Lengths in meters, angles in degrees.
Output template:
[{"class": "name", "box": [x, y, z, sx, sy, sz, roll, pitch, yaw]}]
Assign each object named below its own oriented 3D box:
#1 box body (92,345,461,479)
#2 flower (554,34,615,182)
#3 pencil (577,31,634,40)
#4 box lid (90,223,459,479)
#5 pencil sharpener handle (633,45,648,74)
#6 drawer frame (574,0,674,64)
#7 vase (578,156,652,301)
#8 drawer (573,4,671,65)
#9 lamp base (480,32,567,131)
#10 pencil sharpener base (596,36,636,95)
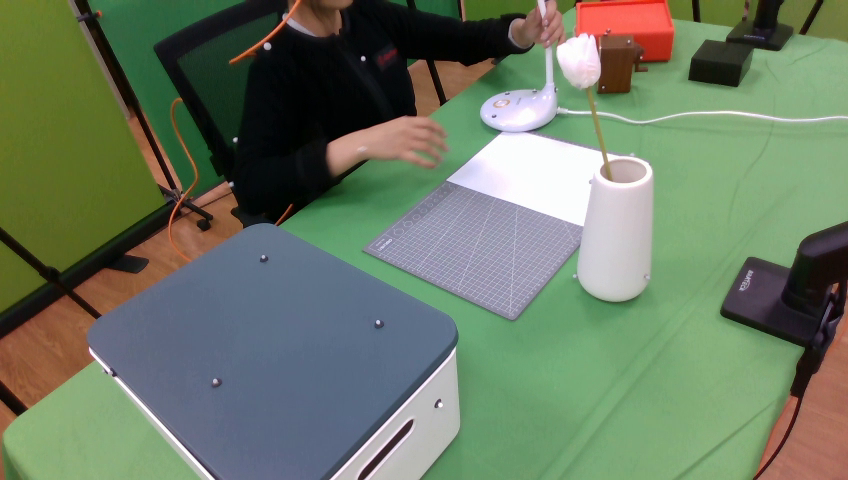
[{"class": "box body", "box": [-0.162, 0.170, 0.708, 0.361, 0.161, 0.255, 25, 50, 34]}, {"class": "flower", "box": [0.237, -0.083, 0.774, 0.044, 0.363, 0.038, -22, 26, 7]}, {"class": "pencil", "box": [0.430, -0.487, 1.443, 0.012, 0.012, 0.192, -25, 30, -18]}, {"class": "box lid", "box": [-0.174, 0.102, 0.666, 0.368, 0.015, 0.264, 24, 49, 35]}, {"class": "pencil sharpener handle", "box": [0.454, -0.378, 1.262, 0.030, 0.068, 0.036, 1, 47, 13]}, {"class": "drawer frame", "box": [0.464, -0.492, 1.434, 0.213, 0.083, 0.201, 1, 40, 12]}, {"class": "vase", "box": [0.261, -0.011, 0.812, 0.098, 0.201, 0.097, -4, 40, 4]}, {"class": "drawer", "box": [0.461, -0.490, 1.434, 0.211, 0.073, 0.194, 2, 40, 12]}, {"class": "lamp base", "box": [0.202, -0.332, 1.218, 0.179, 0.181, 0.160, 2, 40, 10]}, {"class": "pencil sharpener base", "box": [0.406, -0.369, 1.280, 0.076, 0.107, 0.061, 1, 41, 13]}]
